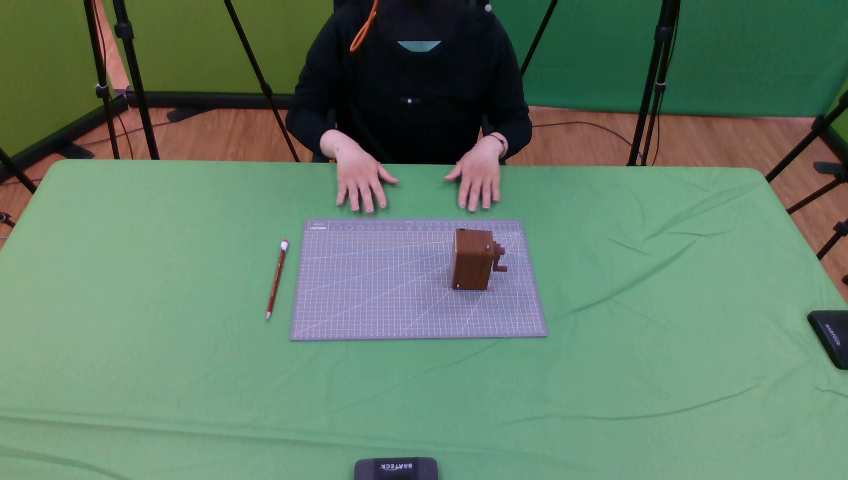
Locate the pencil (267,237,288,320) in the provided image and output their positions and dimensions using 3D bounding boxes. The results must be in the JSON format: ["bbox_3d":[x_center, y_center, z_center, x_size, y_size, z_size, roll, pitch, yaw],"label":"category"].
[{"bbox_3d":[-0.271,0.068,1.119,0.012,0.012,0.193,3,48,-2],"label":"pencil"}]

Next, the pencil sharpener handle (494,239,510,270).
[{"bbox_3d":[0.143,0.029,1.094,0.030,0.068,0.036,3,42,-1],"label":"pencil sharpener handle"}]

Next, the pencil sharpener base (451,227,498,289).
[{"bbox_3d":[0.091,0.034,1.103,0.077,0.107,0.061,3,46,-1],"label":"pencil sharpener base"}]
